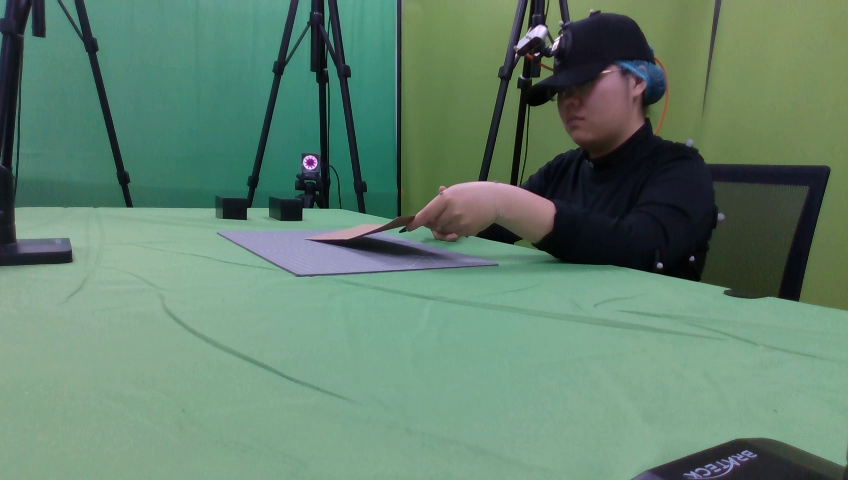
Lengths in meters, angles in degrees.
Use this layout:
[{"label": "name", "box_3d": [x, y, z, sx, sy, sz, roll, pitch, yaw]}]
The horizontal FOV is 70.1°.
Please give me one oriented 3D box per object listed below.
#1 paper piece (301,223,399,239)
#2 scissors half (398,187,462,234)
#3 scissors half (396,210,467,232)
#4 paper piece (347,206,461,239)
[{"label": "paper piece", "box_3d": [-0.119, -0.017, 1.039, 0.136, 0.004, 0.134, -13, 7, -41]}, {"label": "scissors half", "box_3d": [0.010, -0.052, 1.073, 0.013, 0.040, 0.176, -13, 19, 48]}, {"label": "scissors half", "box_3d": [0.016, -0.031, 1.075, 0.176, 0.040, 0.012, -5, -1, -43]}, {"label": "paper piece", "box_3d": [-0.031, -0.028, 0.941, 0.136, 0.008, 0.137, -21, 5, -41]}]
